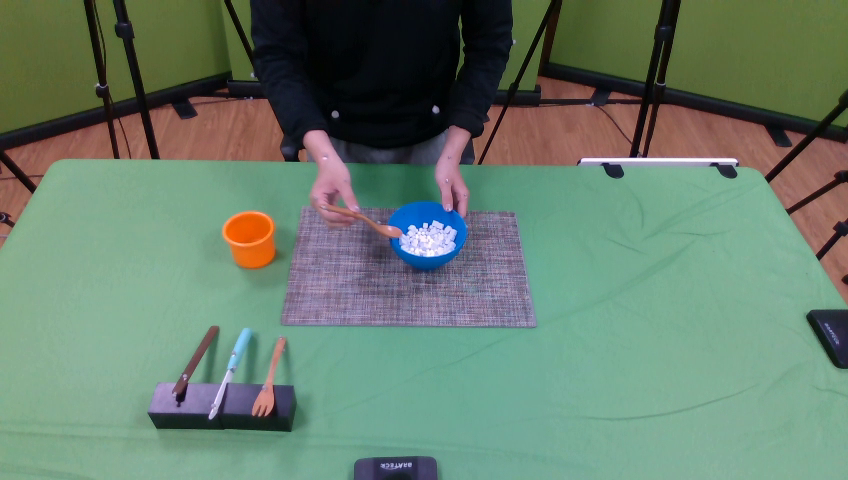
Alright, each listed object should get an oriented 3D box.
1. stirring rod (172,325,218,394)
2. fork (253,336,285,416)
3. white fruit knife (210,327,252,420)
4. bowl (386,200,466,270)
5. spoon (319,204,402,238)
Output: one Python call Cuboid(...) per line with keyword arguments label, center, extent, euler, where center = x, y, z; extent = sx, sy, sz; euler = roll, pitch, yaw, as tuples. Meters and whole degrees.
Cuboid(label="stirring rod", center=(-0.361, 0.185, 0.962), extent=(0.014, 0.006, 0.175), euler=(1, 26, 0))
Cuboid(label="fork", center=(-0.236, 0.206, 0.938), extent=(0.028, 0.019, 0.206), euler=(-2, 26, -3))
Cuboid(label="white fruit knife", center=(-0.298, 0.200, 0.937), extent=(0.016, 0.027, 0.206), euler=(0, 30, 0))
Cuboid(label="bowl", center=(0.001, 0.003, 1.150), extent=(0.151, 0.077, 0.150), euler=(2, 46, -2))
Cuboid(label="spoon", center=(-0.106, -0.035, 1.037), extent=(0.195, 0.021, 0.041), euler=(25, 16, -49))
